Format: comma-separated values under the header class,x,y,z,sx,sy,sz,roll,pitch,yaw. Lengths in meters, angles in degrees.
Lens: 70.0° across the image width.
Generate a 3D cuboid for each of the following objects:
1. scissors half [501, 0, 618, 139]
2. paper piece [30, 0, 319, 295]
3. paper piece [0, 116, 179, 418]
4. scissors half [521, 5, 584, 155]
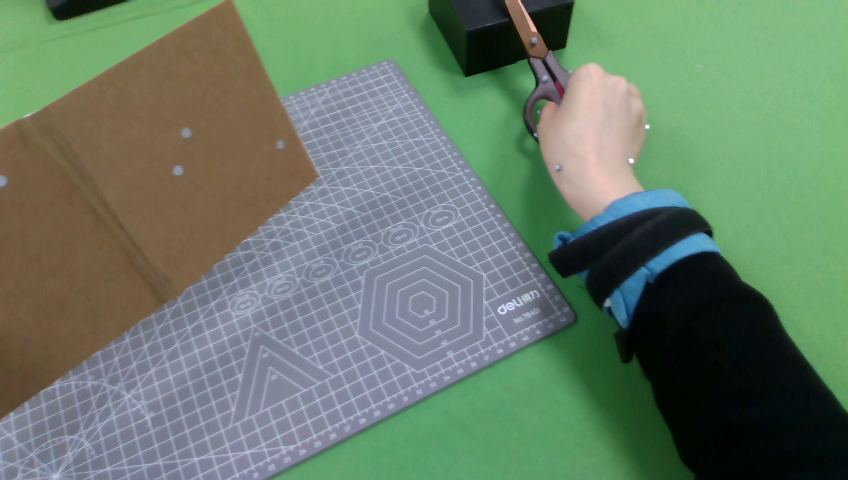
class,x,y,z,sx,sy,sz,roll,pitch,yaw
scissors half,0.104,-0.158,0.500,0.040,0.013,0.174,-34,81,2
paper piece,-0.134,-0.055,0.371,0.004,0.137,0.135,21,54,38
paper piece,-0.225,0.026,0.316,0.138,0.137,0.008,-38,40,-21
scissors half,0.087,-0.149,0.501,0.040,0.013,0.174,-18,80,-1
